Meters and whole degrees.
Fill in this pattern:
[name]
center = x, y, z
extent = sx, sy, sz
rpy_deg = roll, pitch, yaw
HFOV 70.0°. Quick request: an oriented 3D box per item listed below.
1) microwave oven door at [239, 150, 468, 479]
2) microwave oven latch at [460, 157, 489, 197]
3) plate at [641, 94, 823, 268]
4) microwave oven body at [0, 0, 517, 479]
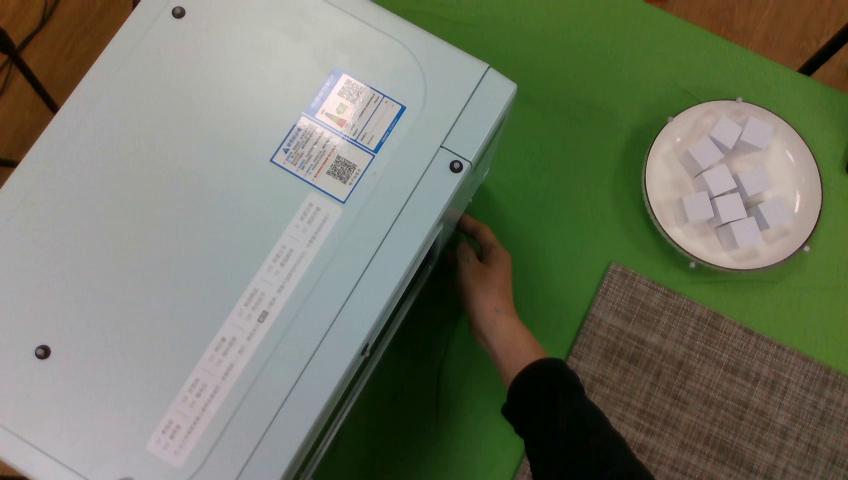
[microwave oven door]
center = -0.068, 0.103, 0.550
extent = 0.039, 0.244, 0.355
rpy_deg = 30, 80, 5
[microwave oven latch]
center = 0.041, -0.068, 0.685
extent = 0.030, 0.029, 0.079
rpy_deg = 40, 82, 5
[plate]
center = 0.355, -0.068, 0.712
extent = 0.208, 0.039, 0.207
rpy_deg = 0, 80, -1
[microwave oven body]
center = -0.174, -0.004, 0.572
extent = 0.325, 0.261, 0.441
rpy_deg = 30, 81, 4
